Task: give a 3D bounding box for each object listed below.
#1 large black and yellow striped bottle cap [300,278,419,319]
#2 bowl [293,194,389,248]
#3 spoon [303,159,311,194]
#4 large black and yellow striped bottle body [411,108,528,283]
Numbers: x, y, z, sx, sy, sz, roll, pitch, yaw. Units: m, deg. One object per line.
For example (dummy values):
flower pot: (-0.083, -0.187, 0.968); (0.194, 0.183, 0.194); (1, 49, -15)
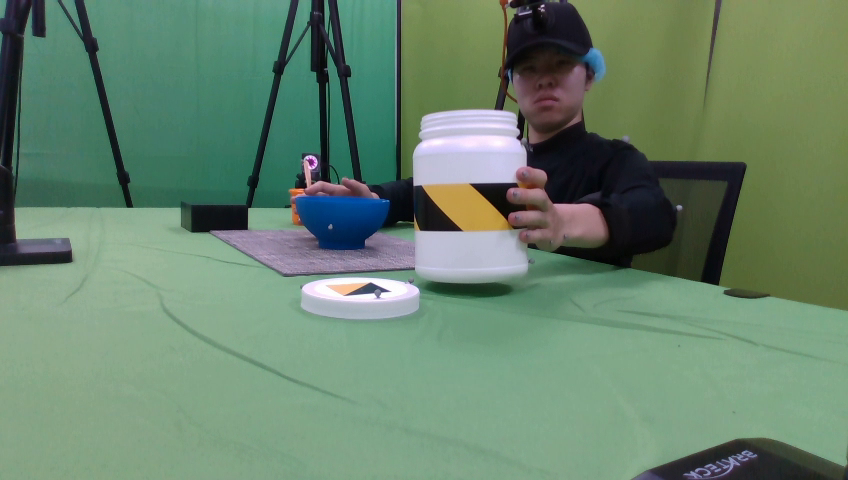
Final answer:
large black and yellow striped bottle cap: (-0.062, 0.055, 0.588); (0.115, 0.019, 0.115); (1, 6, 0)
bowl: (-0.132, -0.030, 0.961); (0.151, 0.077, 0.151); (3, 7, 0)
spoon: (-0.256, -0.113, 1.341); (0.042, 0.193, 0.021); (2, -38, -18)
large black and yellow striped bottle body: (0.052, -0.050, 0.690); (0.131, 0.184, 0.130); (-1, 4, 0)
